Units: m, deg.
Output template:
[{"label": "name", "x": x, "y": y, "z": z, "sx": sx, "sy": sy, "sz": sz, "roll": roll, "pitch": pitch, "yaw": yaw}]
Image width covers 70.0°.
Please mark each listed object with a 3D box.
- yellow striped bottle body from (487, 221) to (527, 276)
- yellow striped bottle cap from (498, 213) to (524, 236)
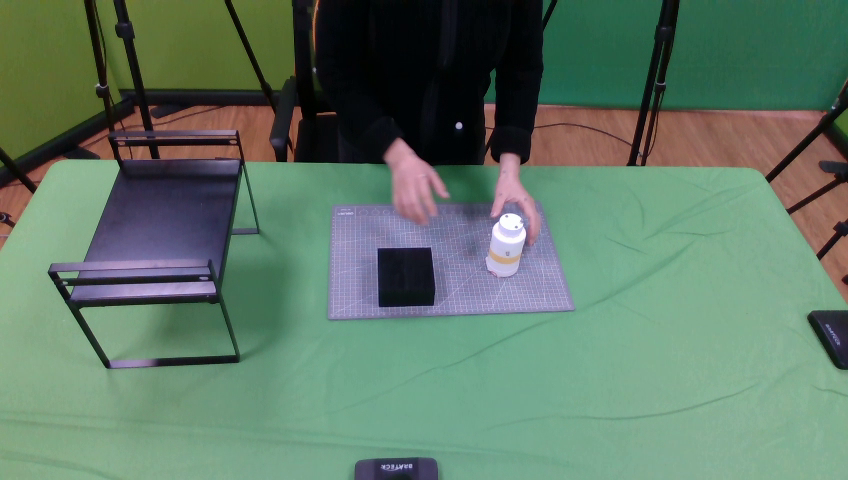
[{"label": "yellow striped bottle body", "x": 0.155, "y": 0.007, "z": 1.128, "sx": 0.063, "sy": 0.121, "sz": 0.062, "roll": 1, "pitch": 47, "yaw": -1}, {"label": "yellow striped bottle cap", "x": 0.157, "y": -0.029, "z": 1.089, "sx": 0.044, "sy": 0.019, "sz": 0.044, "roll": 4, "pitch": 44, "yaw": -4}]
